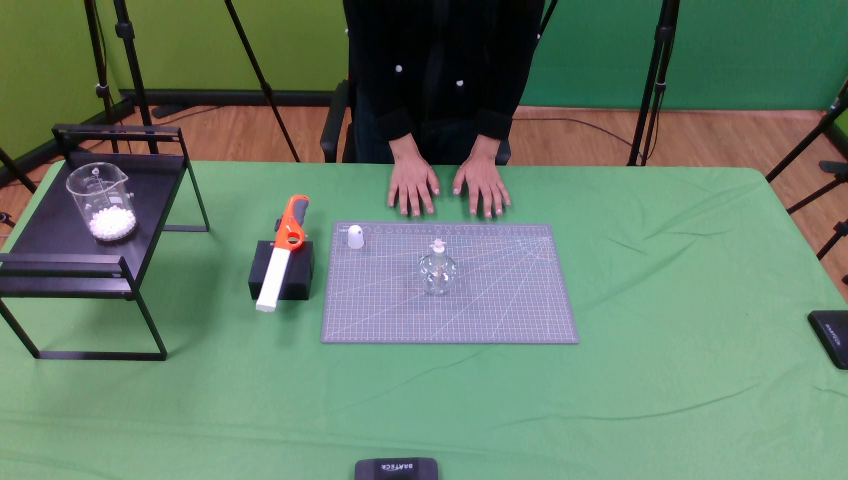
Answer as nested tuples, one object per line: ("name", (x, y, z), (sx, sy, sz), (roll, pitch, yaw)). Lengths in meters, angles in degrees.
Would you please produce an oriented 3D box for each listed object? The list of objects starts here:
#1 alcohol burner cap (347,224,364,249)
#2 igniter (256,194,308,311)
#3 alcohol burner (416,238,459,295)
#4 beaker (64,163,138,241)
("alcohol burner cap", (-0.134, -0.010, 1.177), (0.034, 0.048, 0.033), (2, 47, -2))
("igniter", (-0.254, 0.012, 1.096), (0.057, 0.025, 0.275), (12, 46, -8))
("alcohol burner", (0.024, 0.042, 1.088), (0.078, 0.120, 0.077), (1, 46, 0))
("beaker", (-0.477, -0.055, 0.910), (0.084, 0.101, 0.073), (-9, 48, -13))
